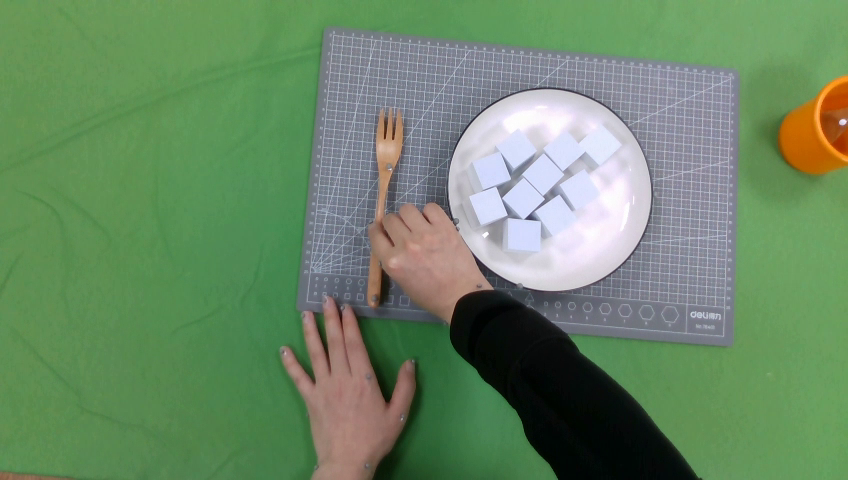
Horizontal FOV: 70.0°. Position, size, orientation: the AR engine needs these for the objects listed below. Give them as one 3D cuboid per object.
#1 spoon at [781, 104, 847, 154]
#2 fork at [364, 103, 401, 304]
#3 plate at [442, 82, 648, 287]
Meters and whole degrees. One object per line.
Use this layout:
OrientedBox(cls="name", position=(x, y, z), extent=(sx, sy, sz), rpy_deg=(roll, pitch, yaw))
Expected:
OrientedBox(cls="spoon", position=(0.451, -0.143, 0.592), extent=(0.022, 0.193, 0.041), rpy_deg=(-16, 77, -48))
OrientedBox(cls="fork", position=(-0.044, -0.038, 0.612), extent=(0.028, 0.019, 0.206), rpy_deg=(5, 81, 4))
OrientedBox(cls="plate", position=(0.120, -0.055, 0.617), extent=(0.208, 0.039, 0.207), rpy_deg=(0, 85, -3))
